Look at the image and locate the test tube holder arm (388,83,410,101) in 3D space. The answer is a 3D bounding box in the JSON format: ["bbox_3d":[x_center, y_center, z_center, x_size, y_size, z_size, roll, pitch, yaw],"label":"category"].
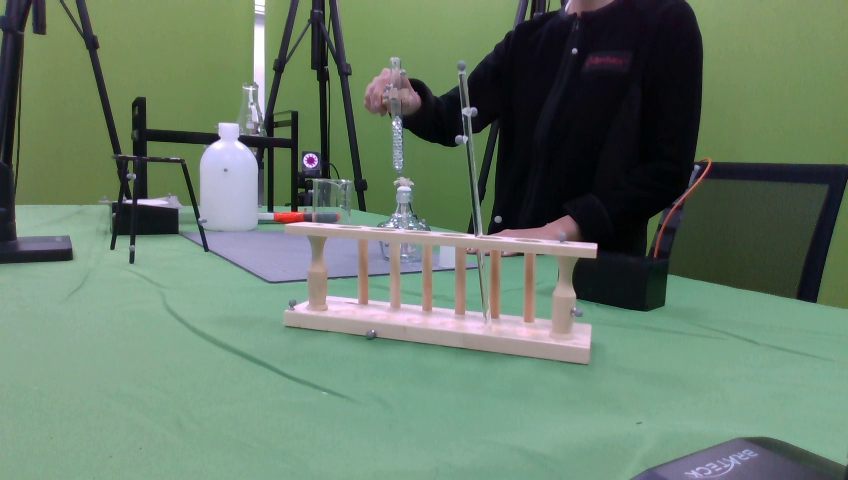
[{"bbox_3d":[-0.040,-0.204,0.839,0.010,0.015,0.087,-9,9,-22],"label":"test tube holder arm"}]

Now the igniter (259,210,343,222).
[{"bbox_3d":[-0.303,-0.049,1.258,0.278,0.025,0.057,-2,-2,-28],"label":"igniter"}]

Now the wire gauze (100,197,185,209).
[{"bbox_3d":[-0.469,-0.062,1.008,0.126,0.011,0.121,-2,8,-25],"label":"wire gauze"}]

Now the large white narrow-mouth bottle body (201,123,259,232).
[{"bbox_3d":[-0.358,-0.116,1.116,0.102,0.194,0.102,2,8,0],"label":"large white narrow-mouth bottle body"}]

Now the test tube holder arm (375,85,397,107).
[{"bbox_3d":[-0.057,-0.209,0.880,0.013,0.015,0.178,-7,8,-12],"label":"test tube holder arm"}]

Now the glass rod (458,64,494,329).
[{"bbox_3d":[0.039,-0.029,0.449,0.008,0.199,0.008,-7,9,1],"label":"glass rod"}]

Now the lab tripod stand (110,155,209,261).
[{"bbox_3d":[-0.361,-0.046,0.806,0.148,0.131,0.148,2,5,0],"label":"lab tripod stand"}]

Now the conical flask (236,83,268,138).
[{"bbox_3d":[-0.400,-0.298,1.396,0.075,0.122,0.075,2,8,0],"label":"conical flask"}]

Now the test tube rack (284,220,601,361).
[{"bbox_3d":[0.013,0.032,0.482,0.242,0.085,0.067,4,7,16],"label":"test tube rack"}]

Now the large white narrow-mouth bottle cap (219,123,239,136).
[{"bbox_3d":[-0.356,-0.201,1.104,0.038,0.024,0.037,2,8,0],"label":"large white narrow-mouth bottle cap"}]

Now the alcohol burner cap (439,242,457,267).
[{"bbox_3d":[0.037,0.011,0.807,0.034,0.048,0.034,4,8,0],"label":"alcohol burner cap"}]

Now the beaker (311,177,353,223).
[{"bbox_3d":[-0.167,-0.064,1.106,0.074,0.100,0.083,-2,9,-27],"label":"beaker"}]

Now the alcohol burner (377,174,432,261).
[{"bbox_3d":[-0.027,-0.031,0.838,0.078,0.119,0.078,0,6,0],"label":"alcohol burner"}]

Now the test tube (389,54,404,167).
[{"bbox_3d":[-0.037,-0.175,0.819,0.017,0.150,0.017,-2,6,1],"label":"test tube"}]
